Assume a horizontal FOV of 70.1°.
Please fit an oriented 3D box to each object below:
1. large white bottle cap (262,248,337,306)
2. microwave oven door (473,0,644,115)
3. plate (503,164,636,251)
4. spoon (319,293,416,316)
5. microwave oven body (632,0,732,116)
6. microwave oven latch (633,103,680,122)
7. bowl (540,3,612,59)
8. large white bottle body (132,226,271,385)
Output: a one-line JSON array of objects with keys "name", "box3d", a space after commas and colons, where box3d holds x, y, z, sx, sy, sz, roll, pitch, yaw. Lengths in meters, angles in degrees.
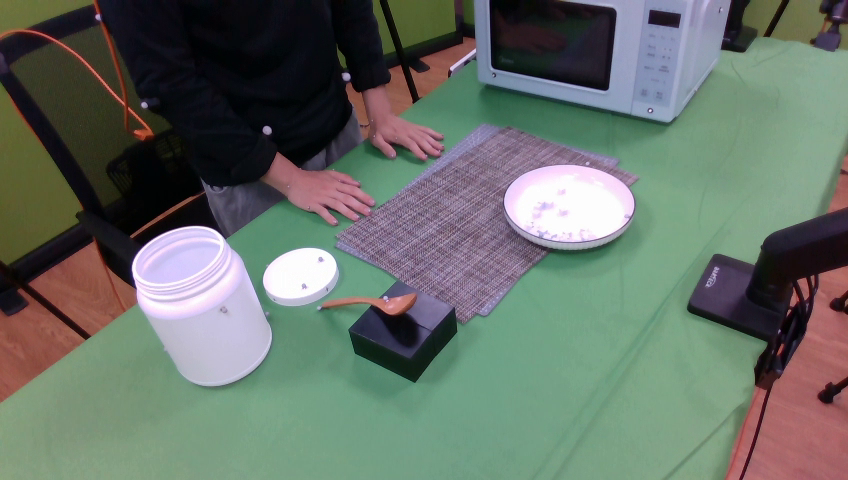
[{"name": "large white bottle cap", "box3d": [-0.192, 0.056, 0.934, 0.115, 0.018, 0.114, -4, 41, 4]}, {"name": "microwave oven door", "box3d": [0.257, -0.396, 1.199, 0.353, 0.245, 0.039, 21, 48, 29]}, {"name": "plate", "box3d": [0.232, -0.051, 0.976, 0.209, 0.038, 0.208, -3, 41, 3]}, {"name": "spoon", "box3d": [-0.082, 0.086, 0.826, 0.192, 0.022, 0.041, -3, 36, 41]}, {"name": "microwave oven body", "box3d": [0.377, -0.462, 1.267, 0.438, 0.261, 0.327, 21, 48, 30]}, {"name": "microwave oven latch", "box3d": [0.444, -0.249, 1.157, 0.078, 0.029, 0.030, 20, 48, 30]}, {"name": "bowl", "box3d": [0.323, -0.441, 1.298, 0.151, 0.077, 0.150, -4, 42, 4]}, {"name": "large white bottle body", "box3d": [-0.286, 0.085, 0.784, 0.130, 0.185, 0.130, -4, 41, 4]}]
